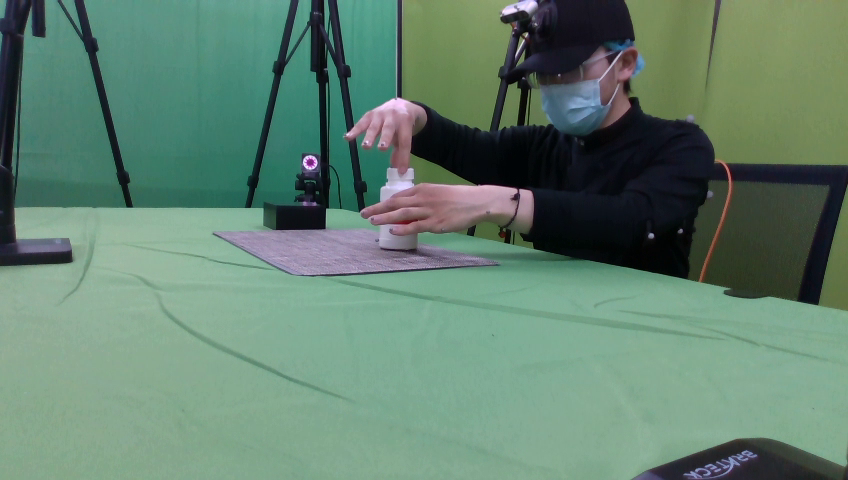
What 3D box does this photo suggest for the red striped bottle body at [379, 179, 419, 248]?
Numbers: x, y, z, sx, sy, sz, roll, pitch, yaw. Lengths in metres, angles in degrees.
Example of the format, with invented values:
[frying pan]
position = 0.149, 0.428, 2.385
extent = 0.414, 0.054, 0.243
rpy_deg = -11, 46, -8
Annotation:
[red striped bottle body]
position = -0.040, -0.048, 0.964
extent = 0.063, 0.119, 0.063
rpy_deg = 1, 4, 0

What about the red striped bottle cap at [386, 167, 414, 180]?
[red striped bottle cap]
position = -0.038, -0.106, 0.958
extent = 0.044, 0.017, 0.044
rpy_deg = -3, 10, 1
